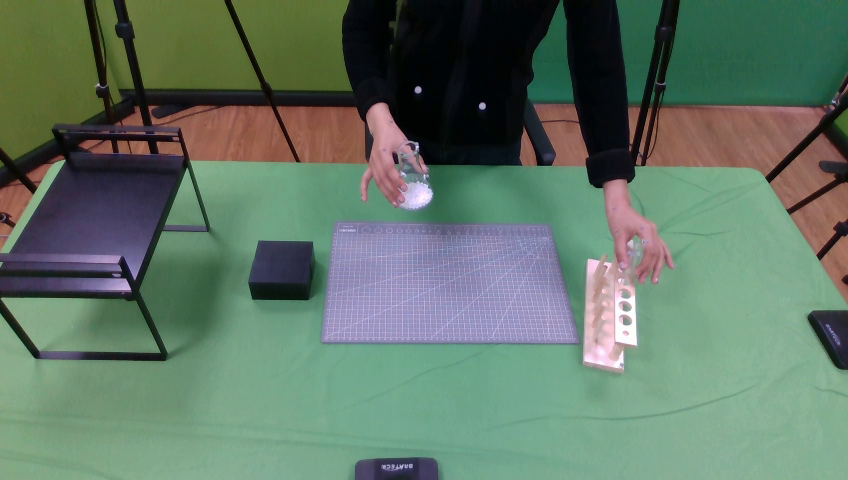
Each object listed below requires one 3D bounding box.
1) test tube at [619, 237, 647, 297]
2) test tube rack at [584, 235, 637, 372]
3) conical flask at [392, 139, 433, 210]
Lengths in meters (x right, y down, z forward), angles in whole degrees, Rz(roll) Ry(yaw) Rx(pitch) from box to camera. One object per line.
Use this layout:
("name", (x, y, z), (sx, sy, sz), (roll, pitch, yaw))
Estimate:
("test tube", (0.350, 0.050, 1.027), (0.017, 0.151, 0.017), (0, 47, 0))
("test tube rack", (0.329, 0.103, 1.073), (0.067, 0.085, 0.241), (10, 47, 7))
("conical flask", (-0.025, -0.117, 1.048), (0.075, 0.122, 0.075), (-3, 50, 4))
